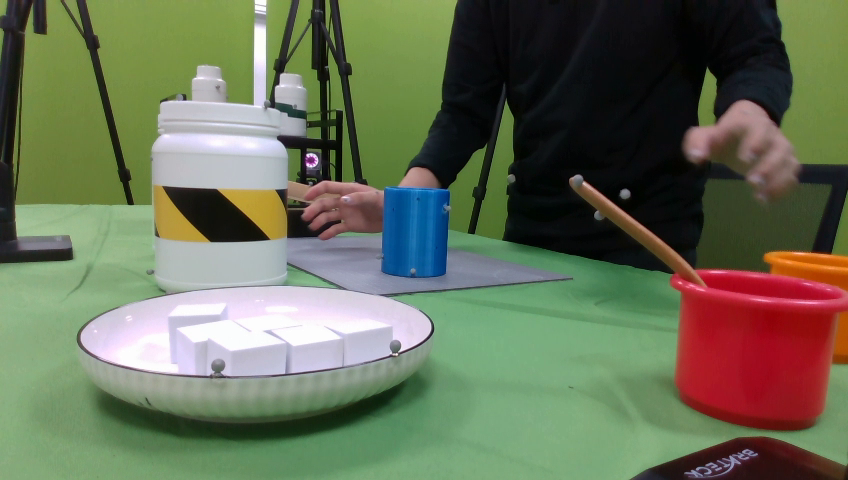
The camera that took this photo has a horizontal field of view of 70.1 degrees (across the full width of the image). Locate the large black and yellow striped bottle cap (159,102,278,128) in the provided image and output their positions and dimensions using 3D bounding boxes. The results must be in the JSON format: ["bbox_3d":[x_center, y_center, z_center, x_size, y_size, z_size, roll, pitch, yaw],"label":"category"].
[{"bbox_3d":[-0.207,-0.125,0.615,0.115,0.019,0.115,2,6,0],"label":"large black and yellow striped bottle cap"}]

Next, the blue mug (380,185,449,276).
[{"bbox_3d":[-0.018,-0.016,0.764,0.083,0.106,0.116,-1,8,-25],"label":"blue mug"}]

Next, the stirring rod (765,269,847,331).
[{"bbox_3d":[0.351,0.020,0.484,0.176,0.006,0.014,-39,-6,12],"label":"stirring rod"}]

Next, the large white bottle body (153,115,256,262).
[{"bbox_3d":[-0.293,-0.070,0.813,0.131,0.184,0.130,2,7,0],"label":"large white bottle body"}]

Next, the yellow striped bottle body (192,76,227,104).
[{"bbox_3d":[-0.414,-0.268,1.169,0.063,0.120,0.063,2,7,0],"label":"yellow striped bottle body"}]

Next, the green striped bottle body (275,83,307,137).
[{"bbox_3d":[-0.269,-0.269,1.221,0.063,0.119,0.063,2,7,0],"label":"green striped bottle body"}]

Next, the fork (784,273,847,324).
[{"bbox_3d":[0.332,0.018,0.444,0.028,0.018,0.207,-1,-35,-15],"label":"fork"}]

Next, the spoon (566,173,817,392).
[{"bbox_3d":[0.161,0.024,0.370,0.193,0.021,0.042,47,17,3],"label":"spoon"}]

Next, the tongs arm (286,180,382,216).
[{"bbox_3d":[-0.122,-0.066,1.147,0.387,0.026,0.050,11,-2,-37],"label":"tongs arm"}]

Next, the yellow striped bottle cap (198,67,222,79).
[{"bbox_3d":[-0.412,-0.320,1.162,0.044,0.018,0.044,1,5,0],"label":"yellow striped bottle cap"}]

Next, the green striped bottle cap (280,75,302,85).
[{"bbox_3d":[-0.267,-0.320,1.216,0.044,0.020,0.044,2,8,0],"label":"green striped bottle cap"}]

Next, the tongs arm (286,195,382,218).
[{"bbox_3d":[-0.165,-0.074,1.216,0.389,0.027,0.028,11,-6,-24],"label":"tongs arm"}]

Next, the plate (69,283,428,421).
[{"bbox_3d":[-0.102,0.066,0.381,0.208,0.039,0.207,2,7,0],"label":"plate"}]

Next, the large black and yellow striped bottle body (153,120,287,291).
[{"bbox_3d":[-0.208,-0.042,0.626,0.131,0.184,0.130,2,7,0],"label":"large black and yellow striped bottle body"}]

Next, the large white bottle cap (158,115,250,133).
[{"bbox_3d":[-0.291,-0.153,0.803,0.115,0.018,0.115,1,7,0],"label":"large white bottle cap"}]
